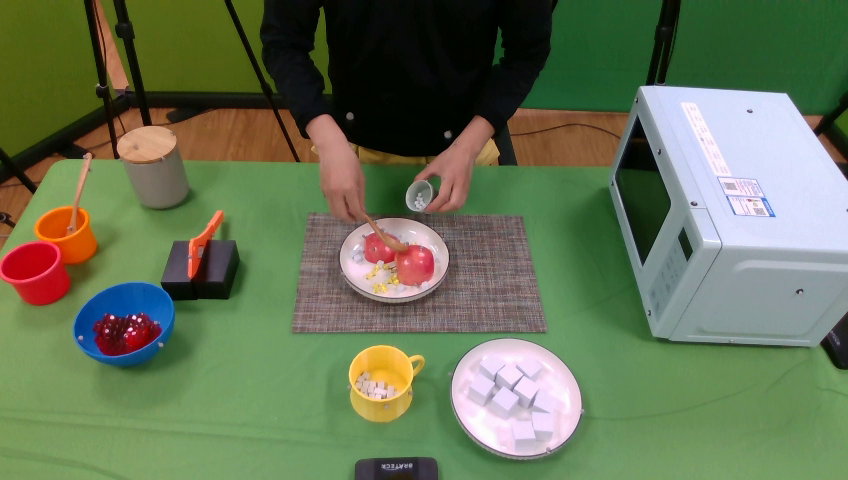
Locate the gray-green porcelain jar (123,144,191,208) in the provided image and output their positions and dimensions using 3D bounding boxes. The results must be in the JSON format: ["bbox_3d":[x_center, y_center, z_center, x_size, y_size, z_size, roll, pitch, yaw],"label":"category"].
[{"bbox_3d":[-0.530,-0.137,1.213,0.106,0.127,0.105,2,46,-2],"label":"gray-green porcelain jar"}]

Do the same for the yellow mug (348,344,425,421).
[{"bbox_3d":[-0.054,0.216,0.954,0.131,0.064,0.099,-24,53,-25],"label":"yellow mug"}]

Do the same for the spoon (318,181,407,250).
[{"bbox_3d":[-0.109,-0.044,1.076,0.194,0.021,0.041,42,22,-5],"label":"spoon"}]

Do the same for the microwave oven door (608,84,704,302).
[{"bbox_3d":[0.424,-0.096,1.138,0.039,0.245,0.353,3,46,-1],"label":"microwave oven door"}]

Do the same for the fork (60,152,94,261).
[{"bbox_3d":[-0.638,-0.063,1.119,0.028,0.018,0.207,12,90,8],"label":"fork"}]

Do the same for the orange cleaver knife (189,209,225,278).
[{"bbox_3d":[-0.400,0.002,1.122,0.012,0.077,0.210,4,23,-4],"label":"orange cleaver knife"}]

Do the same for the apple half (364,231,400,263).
[{"bbox_3d":[-0.079,0.005,1.160,0.081,0.033,0.081,3,50,-3],"label":"apple half"}]

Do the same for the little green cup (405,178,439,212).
[{"bbox_3d":[-0.001,-0.082,1.147,0.061,0.039,0.061,-5,78,22],"label":"little green cup"}]

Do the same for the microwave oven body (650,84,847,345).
[{"bbox_3d":[0.569,-0.054,1.116,0.326,0.261,0.439,2,46,-1],"label":"microwave oven body"}]

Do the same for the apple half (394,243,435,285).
[{"bbox_3d":[-0.016,0.037,1.120,0.075,0.053,0.080,1,46,-6],"label":"apple half"}]

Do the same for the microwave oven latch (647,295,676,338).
[{"bbox_3d":[0.413,0.133,1.060,0.030,0.029,0.078,4,46,1],"label":"microwave oven latch"}]

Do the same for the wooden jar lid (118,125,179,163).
[{"bbox_3d":[-0.528,-0.181,1.167,0.108,0.021,0.107,4,48,-4],"label":"wooden jar lid"}]

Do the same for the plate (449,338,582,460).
[{"bbox_3d":[0.141,0.251,0.956,0.208,0.039,0.206,2,47,-2],"label":"plate"}]

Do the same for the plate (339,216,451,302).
[{"bbox_3d":[-0.054,0.038,1.137,0.209,0.038,0.208,2,46,-2],"label":"plate"}]

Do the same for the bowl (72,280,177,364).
[{"bbox_3d":[-0.472,0.147,0.982,0.151,0.077,0.150,2,46,-2],"label":"bowl"}]
